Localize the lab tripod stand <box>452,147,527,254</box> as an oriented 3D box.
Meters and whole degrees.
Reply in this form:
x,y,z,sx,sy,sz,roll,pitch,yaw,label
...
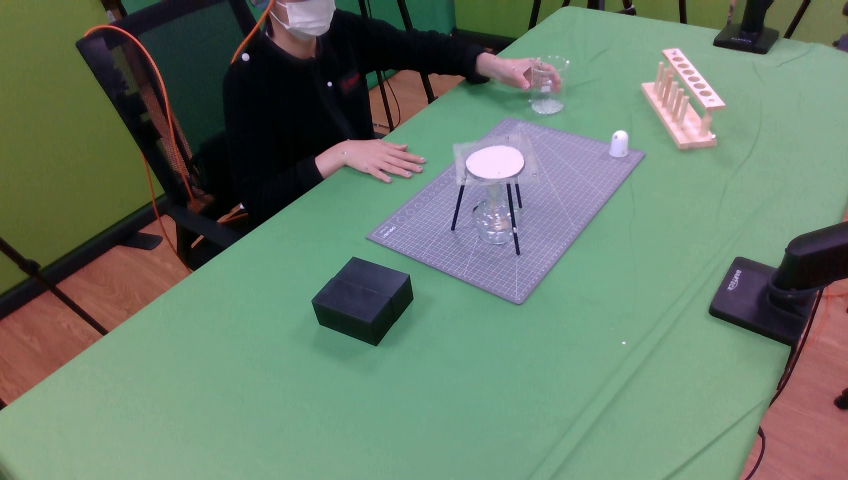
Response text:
x,y,z,sx,sy,sz,roll,pitch,yaw,label
0.111,-0.066,0.943,0.148,0.132,0.147,-5,42,5,lab tripod stand

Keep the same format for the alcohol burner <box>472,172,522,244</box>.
x,y,z,sx,sy,sz,roll,pitch,yaw,label
0.112,-0.053,0.942,0.078,0.119,0.077,-6,40,5,alcohol burner

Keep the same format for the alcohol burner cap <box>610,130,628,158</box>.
x,y,z,sx,sy,sz,roll,pitch,yaw,label
0.359,-0.177,1.106,0.034,0.048,0.033,-5,41,5,alcohol burner cap

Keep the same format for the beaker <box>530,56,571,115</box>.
x,y,z,sx,sy,sz,roll,pitch,yaw,label
0.259,-0.316,1.244,0.084,0.101,0.073,-12,41,-6,beaker

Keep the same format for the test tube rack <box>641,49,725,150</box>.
x,y,z,sx,sy,sz,roll,pitch,yaw,label
0.495,-0.279,1.175,0.067,0.085,0.241,-5,41,3,test tube rack

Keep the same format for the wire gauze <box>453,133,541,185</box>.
x,y,z,sx,sy,sz,roll,pitch,yaw,label
0.105,-0.120,0.902,0.125,0.011,0.121,-5,41,6,wire gauze
